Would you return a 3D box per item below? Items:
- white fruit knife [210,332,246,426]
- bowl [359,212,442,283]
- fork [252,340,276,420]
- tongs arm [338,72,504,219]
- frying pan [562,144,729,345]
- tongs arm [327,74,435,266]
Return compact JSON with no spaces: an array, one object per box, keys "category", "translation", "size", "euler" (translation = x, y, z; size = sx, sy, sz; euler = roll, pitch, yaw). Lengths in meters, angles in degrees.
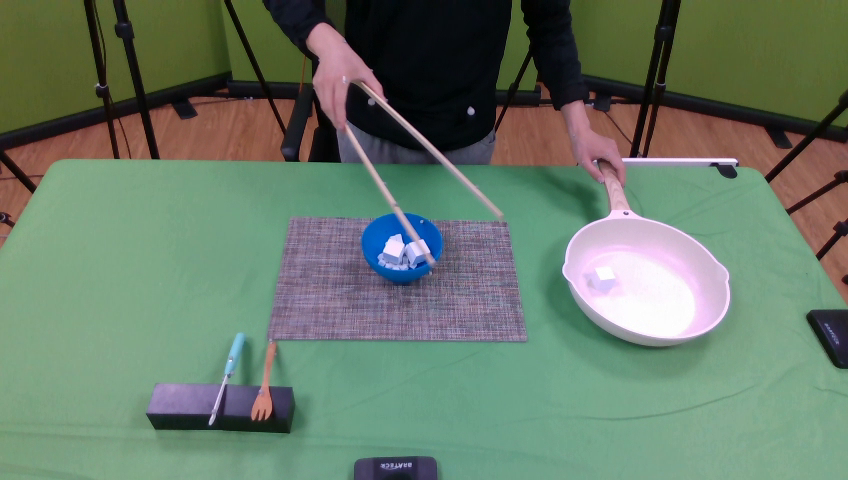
[{"category":"white fruit knife","translation":[-0.301,0.206,0.930],"size":[0.016,0.027,0.206],"euler":[5,29,-7]},{"category":"bowl","translation":[-0.044,0.026,1.125],"size":[0.151,0.077,0.150],"euler":[2,46,-2]},{"category":"fork","translation":[-0.242,0.211,0.932],"size":[0.028,0.019,0.206],"euler":[-7,27,-5]},{"category":"tongs arm","translation":[-0.007,-0.167,1.030],"size":[0.028,0.028,0.386],"euler":[-44,76,-8]},{"category":"frying pan","translation":[0.396,-0.008,1.179],"size":[0.307,0.103,0.484],"euler":[1,55,-5]},{"category":"tongs arm","translation":[-0.069,-0.124,1.016],"size":[0.051,0.026,0.383],"euler":[-32,73,-8]}]
